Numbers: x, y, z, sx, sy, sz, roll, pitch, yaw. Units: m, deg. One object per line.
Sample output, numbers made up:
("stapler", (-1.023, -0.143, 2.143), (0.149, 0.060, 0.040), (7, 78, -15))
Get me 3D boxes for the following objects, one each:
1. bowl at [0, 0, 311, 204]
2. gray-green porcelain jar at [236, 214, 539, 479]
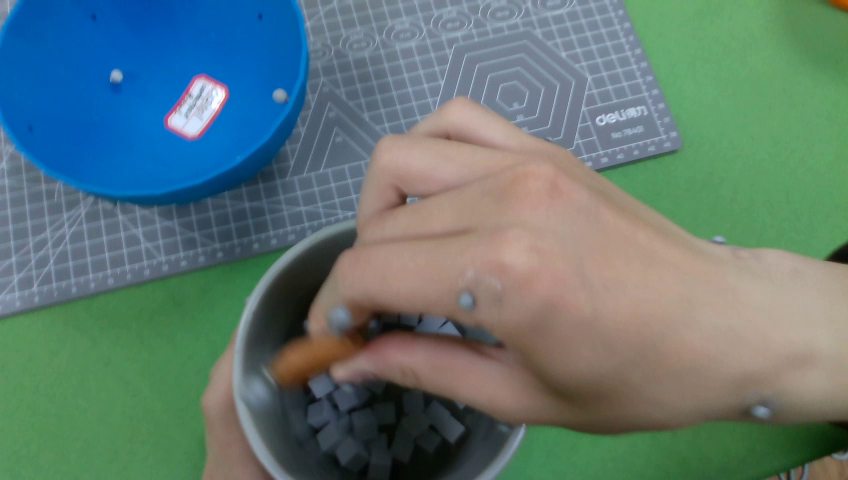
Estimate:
("bowl", (-0.130, -0.081, 0.325), (0.151, 0.077, 0.150), (0, 74, -1))
("gray-green porcelain jar", (-0.013, 0.058, 0.267), (0.106, 0.127, 0.105), (0, 74, -1))
